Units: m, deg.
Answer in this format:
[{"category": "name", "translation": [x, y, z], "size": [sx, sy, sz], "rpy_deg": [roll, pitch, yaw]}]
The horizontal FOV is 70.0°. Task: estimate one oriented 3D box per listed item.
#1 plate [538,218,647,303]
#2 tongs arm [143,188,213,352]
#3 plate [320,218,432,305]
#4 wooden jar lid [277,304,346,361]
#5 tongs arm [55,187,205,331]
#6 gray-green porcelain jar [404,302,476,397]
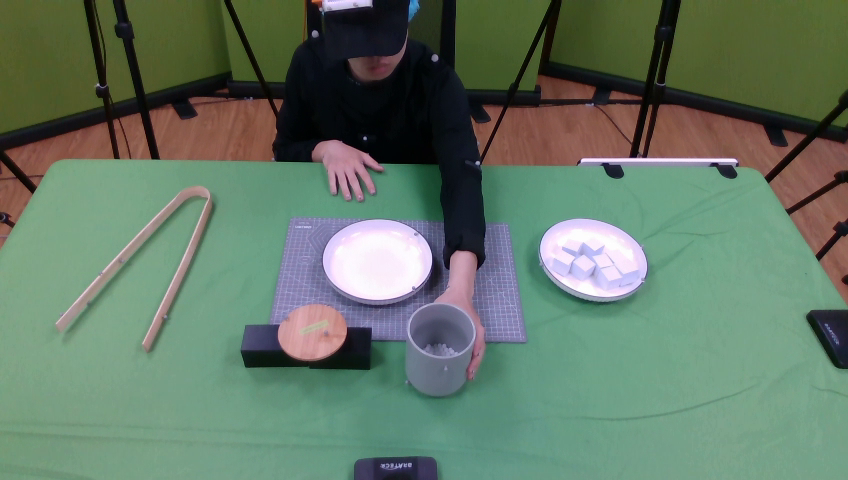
[{"category": "plate", "translation": [0.322, 0.042, 1.171], "size": [0.208, 0.039, 0.206], "rpy_deg": [2, 46, -2]}, {"category": "tongs arm", "translation": [-0.449, 0.040, 1.122], "size": [0.028, 0.028, 0.385], "rpy_deg": [2, 46, 1]}, {"category": "plate", "translation": [-0.089, 0.044, 1.134], "size": [0.209, 0.038, 0.208], "rpy_deg": [3, 46, -2]}, {"category": "wooden jar lid", "translation": [-0.179, 0.150, 0.972], "size": [0.108, 0.021, 0.107], "rpy_deg": [2, 45, -2]}, {"category": "tongs arm", "translation": [-0.530, 0.022, 1.126], "size": [0.051, 0.026, 0.383], "rpy_deg": [15, 46, 8]}, {"category": "gray-green porcelain jar", "translation": [0.022, 0.178, 0.956], "size": [0.106, 0.127, 0.105], "rpy_deg": [2, 46, -2]}]
